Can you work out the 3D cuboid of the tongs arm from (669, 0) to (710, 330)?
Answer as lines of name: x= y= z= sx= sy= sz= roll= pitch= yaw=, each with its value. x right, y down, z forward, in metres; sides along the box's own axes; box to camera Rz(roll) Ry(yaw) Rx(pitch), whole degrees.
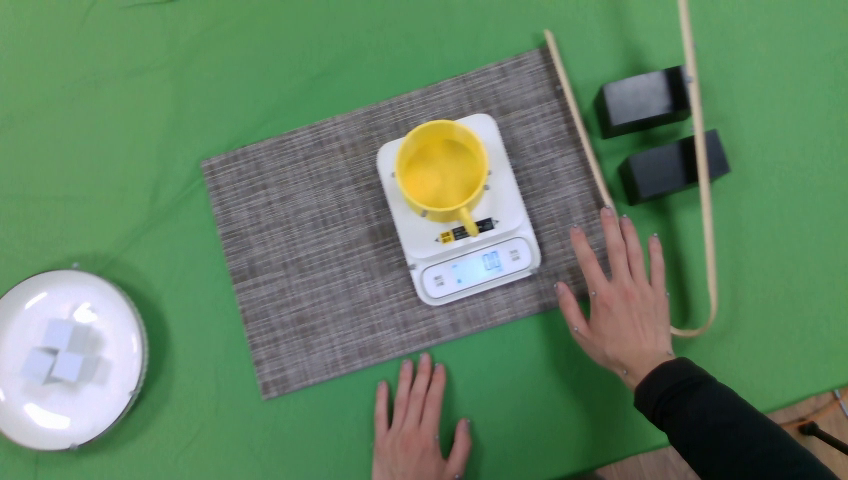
tongs arm: x=0.272 y=-0.095 z=0.656 sx=0.050 sy=0.026 sz=0.384 roll=-9 pitch=89 yaw=30

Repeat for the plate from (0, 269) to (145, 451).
plate: x=-0.425 y=0.139 z=0.713 sx=0.207 sy=0.039 sz=0.207 roll=0 pitch=83 yaw=3

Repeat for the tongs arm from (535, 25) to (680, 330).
tongs arm: x=0.205 y=-0.077 z=0.699 sx=0.028 sy=0.028 sz=0.386 roll=-24 pitch=81 yaw=25

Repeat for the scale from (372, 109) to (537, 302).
scale: x=0.034 y=-0.041 z=0.703 sx=0.148 sy=0.031 sz=0.200 roll=-19 pitch=83 yaw=2

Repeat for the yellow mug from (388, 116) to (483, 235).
yellow mug: x=0.021 y=-0.063 z=0.659 sx=0.100 sy=0.064 sz=0.130 roll=-29 pitch=83 yaw=-1
